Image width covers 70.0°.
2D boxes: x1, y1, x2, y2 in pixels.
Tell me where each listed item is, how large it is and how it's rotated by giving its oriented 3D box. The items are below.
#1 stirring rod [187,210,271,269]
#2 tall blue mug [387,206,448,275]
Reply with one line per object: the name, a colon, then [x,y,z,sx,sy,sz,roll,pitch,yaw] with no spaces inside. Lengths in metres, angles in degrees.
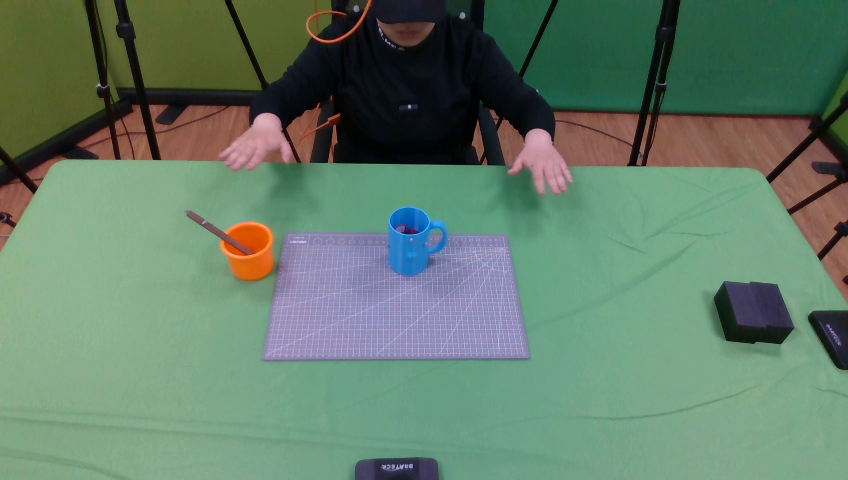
stirring rod: [-0.349,0.000,1.092,0.177,0.006,0.014,39,35,-27]
tall blue mug: [-0.018,-0.004,1.138,0.107,0.108,0.077,-30,54,-29]
